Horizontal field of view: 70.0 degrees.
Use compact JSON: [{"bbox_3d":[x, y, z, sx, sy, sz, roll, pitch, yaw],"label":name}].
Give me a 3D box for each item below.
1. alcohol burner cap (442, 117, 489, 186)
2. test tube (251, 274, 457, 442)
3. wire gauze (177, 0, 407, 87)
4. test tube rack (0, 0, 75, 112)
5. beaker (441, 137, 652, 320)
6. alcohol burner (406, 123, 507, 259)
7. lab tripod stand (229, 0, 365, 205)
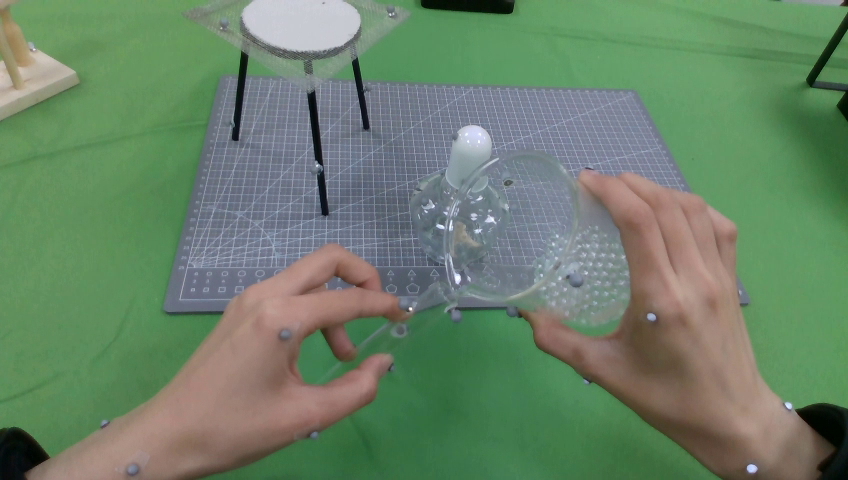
[{"bbox_3d":[0.031,-0.064,0.428,0.034,0.048,0.033,2,53,-3],"label":"alcohol burner cap"},{"bbox_3d":[-0.042,0.067,0.326,0.017,0.150,0.017,43,20,-20],"label":"test tube"},{"bbox_3d":[-0.094,-0.168,0.447,0.124,0.011,0.121,31,52,17],"label":"wire gauze"},{"bbox_3d":[-0.428,-0.132,0.496,0.066,0.086,0.241,30,51,18],"label":"test tube rack"},{"bbox_3d":[0.067,0.003,0.318,0.101,0.084,0.073,20,27,-46],"label":"beaker"},{"bbox_3d":[0.027,-0.041,0.456,0.078,0.120,0.077,5,47,-5],"label":"alcohol burner"},{"bbox_3d":[-0.099,-0.124,0.498,0.148,0.132,0.147,5,49,-6],"label":"lab tripod stand"}]
